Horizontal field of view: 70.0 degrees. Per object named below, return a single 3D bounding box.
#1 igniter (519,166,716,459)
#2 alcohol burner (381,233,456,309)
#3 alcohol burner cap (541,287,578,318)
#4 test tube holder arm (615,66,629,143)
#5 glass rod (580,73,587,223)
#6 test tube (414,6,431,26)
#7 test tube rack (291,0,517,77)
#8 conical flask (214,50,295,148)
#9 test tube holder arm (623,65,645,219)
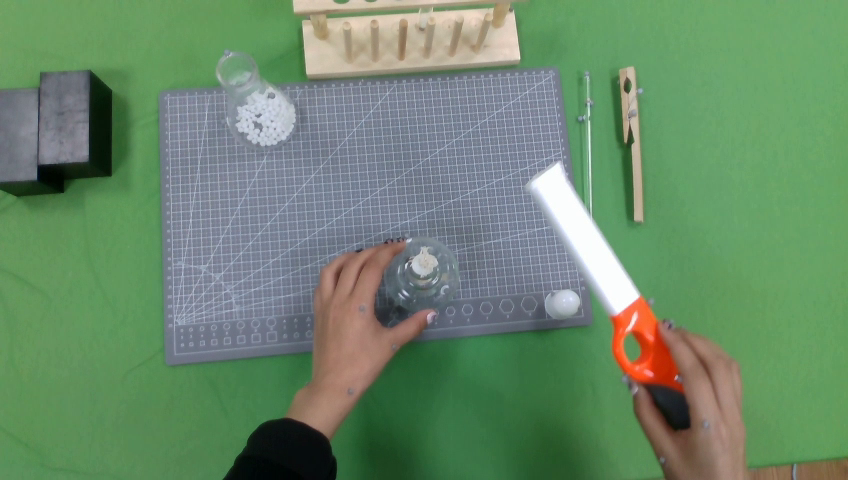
[{"bbox_3d":[0.163,0.063,0.497,0.057,0.025,0.277,-35,98,-12],"label":"igniter"},{"bbox_3d":[-0.005,0.028,0.598,0.078,0.119,0.077,0,79,-2],"label":"alcohol burner"},{"bbox_3d":[0.145,0.064,0.637,0.034,0.048,0.033,1,79,-3],"label":"alcohol burner cap"},{"bbox_3d":[0.229,-0.155,0.695,0.010,0.015,0.087,-8,80,31],"label":"test tube holder arm"},{"bbox_3d":[0.181,-0.094,0.685,0.008,0.008,0.199,2,83,-3],"label":"glass rod"},{"bbox_3d":[0.004,-0.264,0.615,0.017,0.150,0.017,1,77,-6],"label":"test tube"},{"bbox_3d":[-0.015,-0.235,0.659,0.242,0.085,0.066,-5,80,-4],"label":"test tube rack"},{"bbox_3d":[-0.176,-0.146,0.612,0.075,0.122,0.075,1,80,-3],"label":"conical flask"},{"bbox_3d":[0.236,-0.112,0.686,0.013,0.015,0.177,-9,80,30],"label":"test tube holder arm"}]
